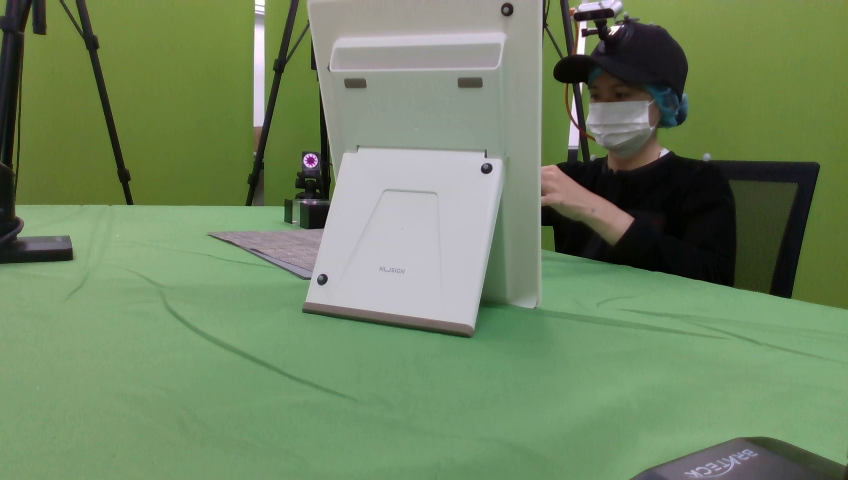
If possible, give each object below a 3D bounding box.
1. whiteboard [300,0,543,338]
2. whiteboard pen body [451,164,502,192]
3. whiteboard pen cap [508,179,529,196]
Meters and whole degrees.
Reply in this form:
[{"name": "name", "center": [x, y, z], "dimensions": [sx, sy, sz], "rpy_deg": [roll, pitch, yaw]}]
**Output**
[{"name": "whiteboard", "center": [-0.020, -0.050, 0.523], "dimensions": [0.216, 0.305, 0.144], "rpy_deg": [6, 27, 22]}, {"name": "whiteboard pen body", "center": [0.087, -0.102, 0.999], "dimensions": [0.017, 0.017, 0.140], "rpy_deg": [-2, 22, -31]}, {"name": "whiteboard pen cap", "center": [0.145, -0.081, 0.929], "dimensions": [0.018, 0.018, 0.033], "rpy_deg": [-3, 25, -36]}]
